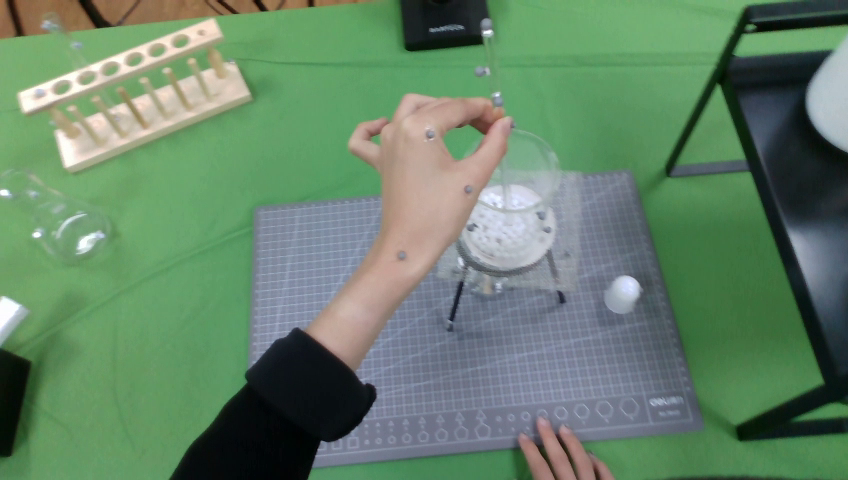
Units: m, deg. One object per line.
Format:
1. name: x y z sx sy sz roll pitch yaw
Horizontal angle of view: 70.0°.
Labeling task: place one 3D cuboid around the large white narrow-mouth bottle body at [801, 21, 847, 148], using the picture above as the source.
1. large white narrow-mouth bottle body: 0.369 -0.154 0.440 0.102 0.196 0.101 -2 65 4

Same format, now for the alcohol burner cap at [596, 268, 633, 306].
1. alcohol burner cap: 0.201 0.046 0.633 0.034 0.048 0.033 -1 64 3

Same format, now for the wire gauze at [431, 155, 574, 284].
1. wire gauze: 0.074 -0.020 0.547 0.121 0.011 0.124 7 63 3

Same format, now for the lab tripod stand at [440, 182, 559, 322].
1. lab tripod stand: 0.071 0.013 0.604 0.148 0.132 0.147 0 63 1

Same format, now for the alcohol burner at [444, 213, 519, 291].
1. alcohol burner: 0.060 0.006 0.619 0.078 0.120 0.077 0 63 1

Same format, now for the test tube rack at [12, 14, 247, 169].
1. test tube rack: -0.355 -0.183 0.746 0.242 0.086 0.066 -25 66 -9

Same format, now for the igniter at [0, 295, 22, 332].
1. igniter: -0.486 0.170 0.565 0.057 0.025 0.275 20 66 22

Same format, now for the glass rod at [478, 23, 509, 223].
1. glass rod: 0.050 -0.069 0.427 0.008 0.202 0.008 -5 57 9

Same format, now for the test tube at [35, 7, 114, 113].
1. test tube: -0.400 -0.203 0.703 0.017 0.151 0.017 -1 58 2

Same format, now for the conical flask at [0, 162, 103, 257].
1. conical flask: -0.416 -0.037 0.660 0.075 0.123 0.074 -1 64 3

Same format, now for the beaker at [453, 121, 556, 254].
1. beaker: 0.061 -0.036 0.501 0.084 0.101 0.073 -27 67 -10
